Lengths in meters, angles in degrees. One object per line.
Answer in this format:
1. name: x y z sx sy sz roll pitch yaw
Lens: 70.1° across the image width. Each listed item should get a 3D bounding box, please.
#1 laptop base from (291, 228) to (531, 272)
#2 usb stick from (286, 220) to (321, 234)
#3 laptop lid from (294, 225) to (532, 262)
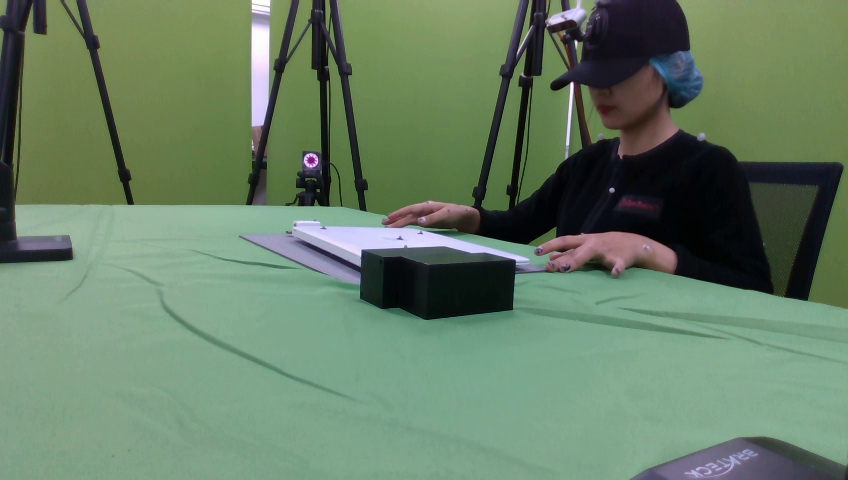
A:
1. laptop base: -0.038 0.013 0.894 0.237 0.023 0.352 2 6 -28
2. usb stick: -0.211 -0.021 1.055 0.059 0.027 0.021 -5 11 -33
3. laptop lid: -0.035 0.001 0.894 0.243 0.013 0.355 1 7 -26
